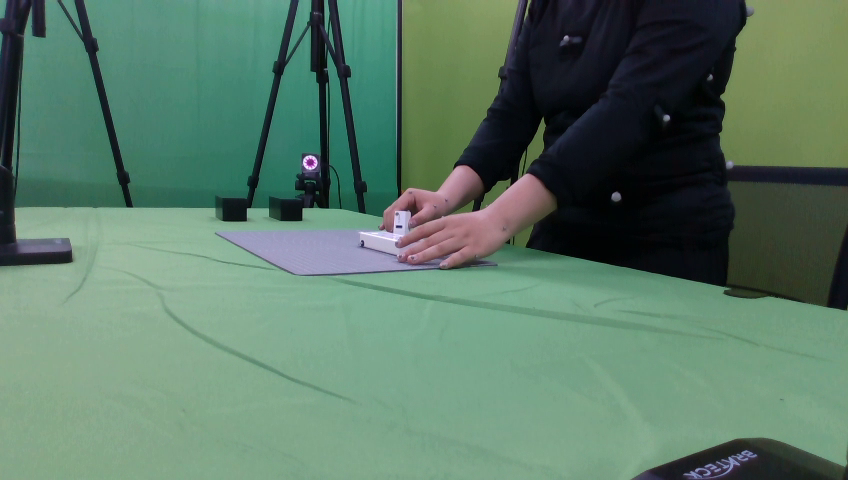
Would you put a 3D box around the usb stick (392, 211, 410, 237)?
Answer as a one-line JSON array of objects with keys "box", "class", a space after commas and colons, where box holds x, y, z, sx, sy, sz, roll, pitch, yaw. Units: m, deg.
[{"box": [-0.039, -0.018, 1.006, 0.021, 0.059, 0.027, 6, 2, 21], "class": "usb stick"}]

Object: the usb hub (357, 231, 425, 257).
[{"box": [-0.055, 0.005, 0.948, 0.050, 0.025, 0.124, -3, 9, -36], "class": "usb hub"}]
